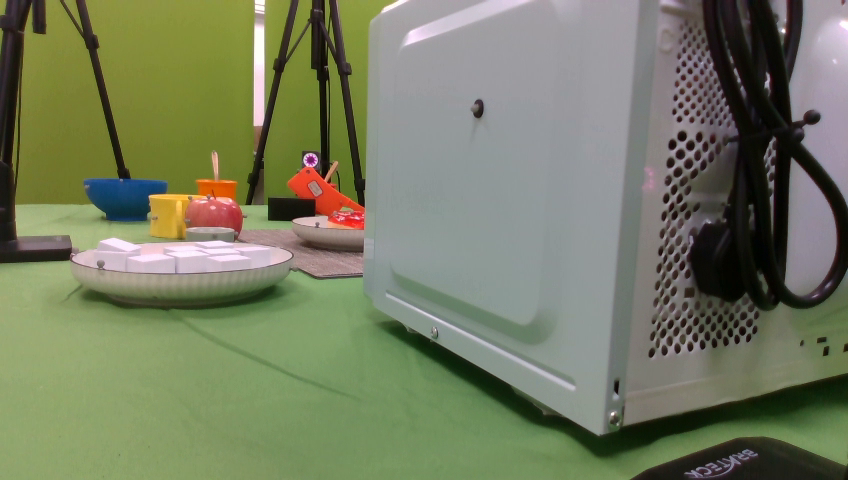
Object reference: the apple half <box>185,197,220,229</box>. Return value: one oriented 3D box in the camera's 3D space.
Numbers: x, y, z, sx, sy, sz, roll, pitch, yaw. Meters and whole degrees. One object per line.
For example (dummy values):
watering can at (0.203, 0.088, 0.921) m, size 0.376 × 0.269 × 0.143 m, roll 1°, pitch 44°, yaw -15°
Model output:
apple half at (-0.338, -0.031, 0.927) m, size 0.032 × 0.081 × 0.081 m, roll 12°, pitch 12°, yaw 31°

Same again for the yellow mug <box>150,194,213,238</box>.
yellow mug at (-0.401, -0.040, 1.003) m, size 0.100 × 0.064 × 0.130 m, roll -1°, pitch 9°, yaw -20°

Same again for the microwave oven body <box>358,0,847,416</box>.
microwave oven body at (0.211, -0.047, 0.474) m, size 0.444 × 0.260 × 0.324 m, roll -1°, pitch 7°, yaw -28°

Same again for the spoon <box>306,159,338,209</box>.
spoon at (-0.257, -0.147, 1.567) m, size 0.041 × 0.022 × 0.193 m, roll 2°, pitch 50°, yaw 20°

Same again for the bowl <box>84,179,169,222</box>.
bowl at (-0.584, -0.078, 1.194) m, size 0.151 × 0.077 × 0.151 m, roll 3°, pitch 8°, yaw 0°

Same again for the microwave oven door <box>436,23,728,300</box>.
microwave oven door at (0.180, -0.072, 0.621) m, size 0.358 × 0.243 × 0.039 m, roll -2°, pitch 9°, yaw -29°

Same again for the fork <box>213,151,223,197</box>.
fork at (-0.494, -0.143, 1.442) m, size 0.028 × 0.018 × 0.206 m, roll -2°, pitch 52°, yaw -20°

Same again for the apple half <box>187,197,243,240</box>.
apple half at (-0.305, -0.026, 0.907) m, size 0.053 × 0.074 × 0.081 m, roll 12°, pitch 8°, yaw 31°

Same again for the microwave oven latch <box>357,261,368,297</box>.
microwave oven latch at (-0.019, 0.033, 0.531) m, size 0.079 × 0.029 × 0.030 m, roll -1°, pitch 7°, yaw -27°

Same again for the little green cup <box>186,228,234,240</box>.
little green cup at (-0.284, 0.005, 0.805) m, size 0.061 × 0.038 × 0.061 m, roll 2°, pitch 8°, yaw 0°

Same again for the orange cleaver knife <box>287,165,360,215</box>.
orange cleaver knife at (-0.211, -0.093, 1.382) m, size 0.212 × 0.077 × 0.012 m, roll 33°, pitch 1°, yaw -15°

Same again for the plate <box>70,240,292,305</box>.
plate at (-0.242, 0.031, 0.618) m, size 0.208 × 0.039 × 0.207 m, roll 2°, pitch 8°, yaw 0°

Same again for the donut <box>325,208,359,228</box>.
donut at (-0.111, -0.025, 0.974) m, size 0.099 × 0.048 × 0.099 m, roll 5°, pitch 8°, yaw 0°

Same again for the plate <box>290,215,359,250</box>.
plate at (-0.110, -0.014, 0.973) m, size 0.209 × 0.038 × 0.209 m, roll 3°, pitch 8°, yaw 0°
